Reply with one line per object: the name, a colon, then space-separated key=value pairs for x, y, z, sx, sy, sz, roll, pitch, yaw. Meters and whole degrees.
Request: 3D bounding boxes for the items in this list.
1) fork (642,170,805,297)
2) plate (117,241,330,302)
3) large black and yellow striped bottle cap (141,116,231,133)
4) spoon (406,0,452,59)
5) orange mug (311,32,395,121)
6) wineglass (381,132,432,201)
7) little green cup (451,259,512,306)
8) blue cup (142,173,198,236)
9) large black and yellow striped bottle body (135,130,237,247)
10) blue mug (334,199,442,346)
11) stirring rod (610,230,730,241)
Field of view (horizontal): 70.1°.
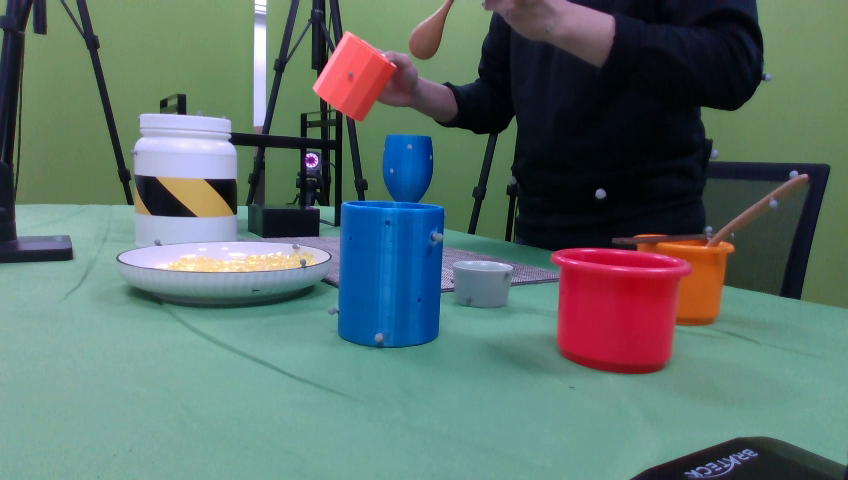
fork: x=0.261 y=0.003 z=0.545 sx=0.028 sy=0.018 sz=0.207 roll=6 pitch=-37 yaw=-15
plate: x=-0.203 y=0.031 z=0.630 sx=0.209 sy=0.038 sz=0.209 roll=3 pitch=7 yaw=0
large black and yellow striped bottle cap: x=-0.324 y=-0.157 z=0.826 sx=0.115 sy=0.019 sz=0.115 roll=1 pitch=7 yaw=0
spoon: x=0.035 y=-0.316 z=0.774 sx=0.041 sy=0.193 sz=0.021 roll=36 pitch=27 yaw=-2
orange mug: x=-0.102 y=-0.245 z=0.906 sx=0.083 sy=0.100 sz=0.126 roll=34 pitch=19 yaw=-5
wineglass: x=-0.026 y=-0.062 z=0.841 sx=0.074 sy=0.172 sz=0.073 roll=2 pitch=7 yaw=0
little green cup: x=0.057 y=0.043 z=0.612 sx=0.061 sy=0.038 sz=0.061 roll=3 pitch=8 yaw=0
blue cup: x=-0.425 y=-0.060 z=1.014 sx=0.093 sy=0.100 sz=0.092 roll=4 pitch=9 yaw=0
large black and yellow striped bottle body: x=-0.327 y=-0.074 z=0.838 sx=0.131 sy=0.184 sz=0.130 roll=2 pitch=7 yaw=0
blue mug: x=-0.034 y=0.020 z=0.498 sx=0.083 sy=0.106 sz=0.116 roll=0 pitch=7 yaw=-20
stirring rod: x=0.241 y=-0.005 z=0.582 sx=0.177 sy=0.006 sz=0.014 roll=-3 pitch=10 yaw=-34
